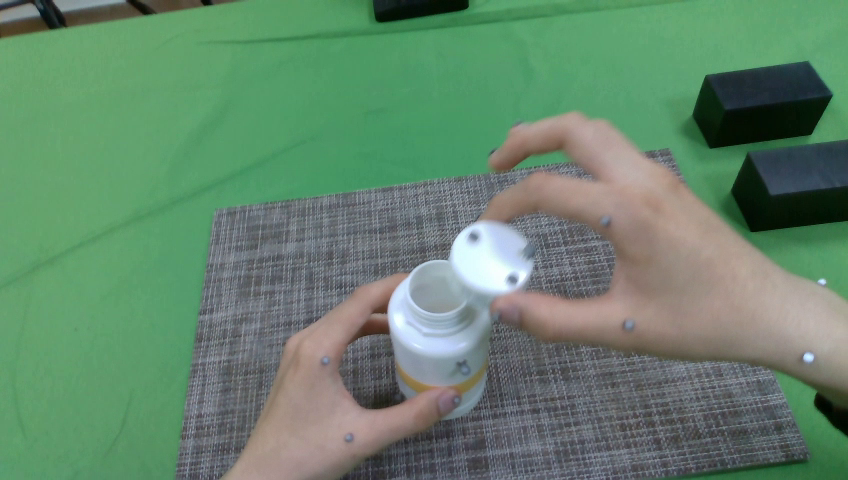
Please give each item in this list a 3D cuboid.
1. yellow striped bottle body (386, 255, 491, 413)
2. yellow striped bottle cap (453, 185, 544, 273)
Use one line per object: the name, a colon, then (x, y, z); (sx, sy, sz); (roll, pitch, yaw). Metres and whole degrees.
yellow striped bottle body: (0.010, 0.059, 0.385); (0.063, 0.121, 0.062); (-1, 53, 2)
yellow striped bottle cap: (0.036, -0.005, 0.300); (0.044, 0.019, 0.044); (-1, 54, 1)
